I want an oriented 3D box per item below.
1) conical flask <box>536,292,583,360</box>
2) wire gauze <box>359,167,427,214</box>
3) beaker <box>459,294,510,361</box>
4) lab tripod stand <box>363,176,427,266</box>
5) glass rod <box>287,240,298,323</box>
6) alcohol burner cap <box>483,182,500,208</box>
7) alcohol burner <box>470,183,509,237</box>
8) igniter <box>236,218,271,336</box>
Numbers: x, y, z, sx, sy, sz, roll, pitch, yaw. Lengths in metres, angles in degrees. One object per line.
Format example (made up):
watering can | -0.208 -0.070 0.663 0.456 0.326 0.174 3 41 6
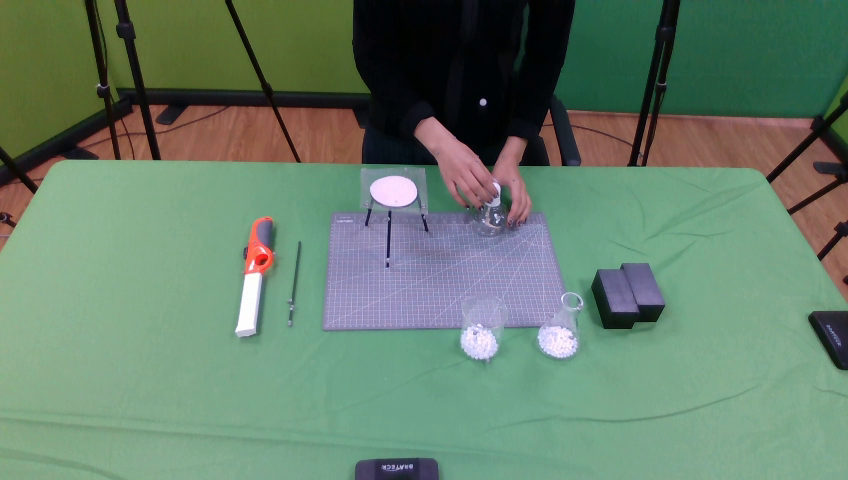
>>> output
conical flask | 0.234 0.139 1.015 0.075 0.122 0.075 2 46 -2
wire gauze | -0.058 -0.093 1.110 0.125 0.011 0.120 2 45 -5
beaker | 0.095 0.147 1.012 0.083 0.101 0.074 26 49 21
lab tripod stand | -0.058 -0.047 1.159 0.148 0.132 0.147 3 44 -2
glass rod | -0.242 0.072 1.119 0.008 0.008 0.198 -1 47 -5
alcohol burner cap | 0.133 -0.090 1.180 0.034 0.048 0.033 -1 44 1
alcohol burner | 0.132 -0.065 1.206 0.078 0.120 0.077 2 44 -2
igniter | -0.312 0.058 1.115 0.057 0.025 0.274 -9 46 2
